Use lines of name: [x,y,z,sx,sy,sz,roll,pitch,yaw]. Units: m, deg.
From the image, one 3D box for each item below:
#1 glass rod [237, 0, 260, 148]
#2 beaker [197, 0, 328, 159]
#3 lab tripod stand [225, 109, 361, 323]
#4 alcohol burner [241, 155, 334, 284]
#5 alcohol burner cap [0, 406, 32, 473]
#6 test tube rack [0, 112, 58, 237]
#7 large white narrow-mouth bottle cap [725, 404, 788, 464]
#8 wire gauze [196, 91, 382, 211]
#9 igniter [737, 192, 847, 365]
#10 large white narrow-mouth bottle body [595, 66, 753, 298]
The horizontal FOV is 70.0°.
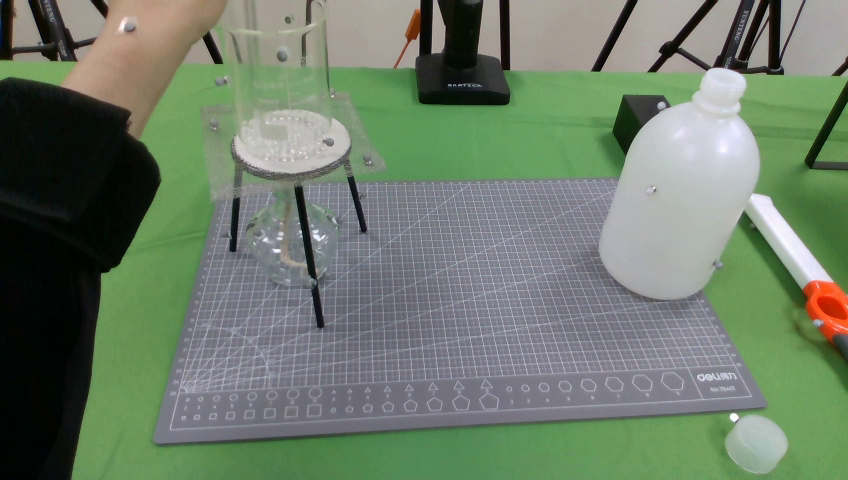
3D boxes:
glass rod: [-0.113,-0.149,0.376,0.008,0.201,0.008,3,33,-2]
beaker: [-0.108,-0.115,0.427,0.084,0.101,0.073,-6,45,-11]
lab tripod stand: [-0.105,-0.026,0.500,0.148,0.132,0.147,4,43,-3]
alcohol burner: [-0.115,-0.020,0.508,0.078,0.120,0.077,4,40,-3]
alcohol burner cap: [-0.279,0.126,0.390,0.034,0.048,0.033,4,41,-3]
test tube rack: [-0.456,-0.019,0.503,0.066,0.086,0.242,35,50,29]
large white narrow-mouth bottle cap: [0.238,0.139,0.434,0.038,0.024,0.037,2,42,-1]
wire gauze: [-0.105,-0.076,0.458,0.122,0.011,0.123,-12,48,-15]
igniter: [0.352,0.047,0.541,0.057,0.025,0.273,7,41,-12]
large white narrow-mouth bottle body: [0.212,-0.049,0.506,0.102,0.196,0.101,2,42,-1]
